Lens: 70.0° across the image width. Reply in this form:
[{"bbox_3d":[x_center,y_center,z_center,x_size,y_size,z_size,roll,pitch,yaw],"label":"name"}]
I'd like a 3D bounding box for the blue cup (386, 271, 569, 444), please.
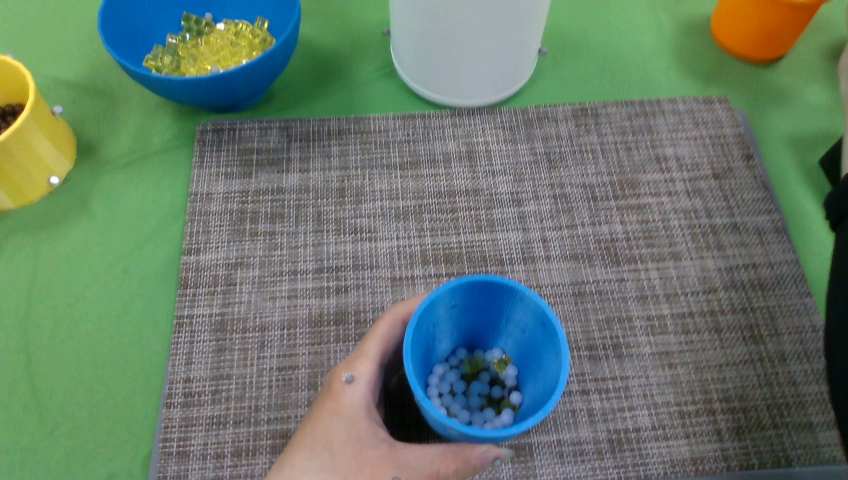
[{"bbox_3d":[0.029,0.077,0.349,0.093,0.101,0.092,1,62,-2],"label":"blue cup"}]

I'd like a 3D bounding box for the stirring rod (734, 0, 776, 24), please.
[{"bbox_3d":[0.327,-0.232,0.479,0.006,0.176,0.014,-16,77,-37],"label":"stirring rod"}]

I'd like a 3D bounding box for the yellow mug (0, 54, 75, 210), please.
[{"bbox_3d":[-0.328,-0.068,0.441,0.100,0.064,0.130,7,62,2],"label":"yellow mug"}]

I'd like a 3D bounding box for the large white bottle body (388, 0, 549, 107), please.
[{"bbox_3d":[0.035,-0.209,0.463,0.131,0.186,0.129,1,61,-1],"label":"large white bottle body"}]

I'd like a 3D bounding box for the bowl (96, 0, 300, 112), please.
[{"bbox_3d":[-0.170,-0.158,0.490,0.151,0.077,0.150,1,61,-1],"label":"bowl"}]
